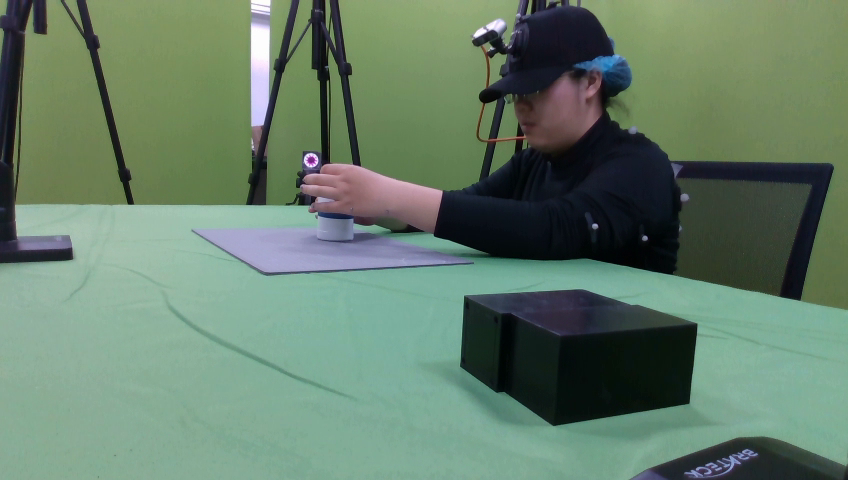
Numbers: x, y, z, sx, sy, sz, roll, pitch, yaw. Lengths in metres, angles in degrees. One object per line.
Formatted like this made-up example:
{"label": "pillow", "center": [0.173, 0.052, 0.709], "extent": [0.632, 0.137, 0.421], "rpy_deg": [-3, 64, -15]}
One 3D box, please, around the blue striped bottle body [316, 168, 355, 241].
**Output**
{"label": "blue striped bottle body", "center": [-0.149, -0.061, 1.024], "extent": [0.063, 0.120, 0.063], "rpy_deg": [3, 7, 0]}

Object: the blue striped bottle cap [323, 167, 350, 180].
{"label": "blue striped bottle cap", "center": [-0.147, -0.112, 1.018], "extent": [0.044, 0.020, 0.044], "rpy_deg": [2, 9, 0]}
